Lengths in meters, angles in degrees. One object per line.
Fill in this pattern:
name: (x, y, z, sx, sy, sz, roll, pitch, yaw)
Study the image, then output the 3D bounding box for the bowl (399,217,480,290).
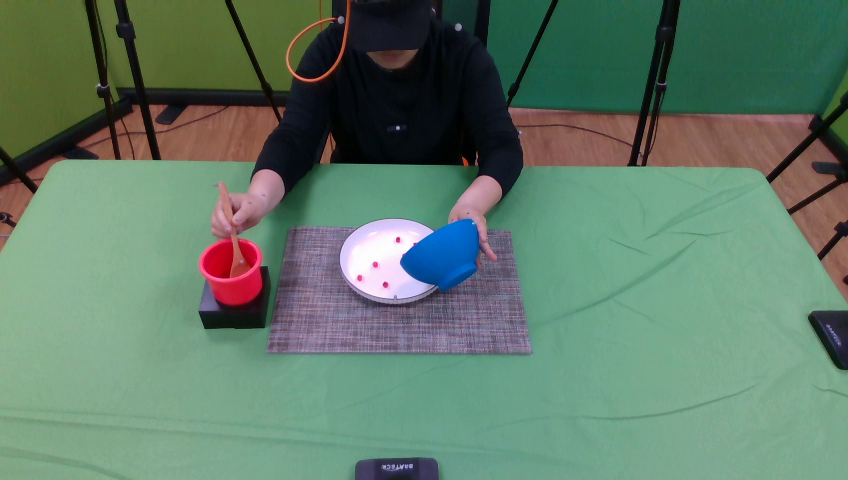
bowl: (0.041, 0.034, 1.039, 0.151, 0.152, 0.076, -24, 74, -24)

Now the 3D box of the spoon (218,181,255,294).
spoon: (-0.318, -0.004, 1.015, 0.042, 0.194, 0.021, -12, 8, -20)

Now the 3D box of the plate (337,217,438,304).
plate: (-0.058, 0.042, 1.137, 0.208, 0.039, 0.206, 2, 46, -2)
